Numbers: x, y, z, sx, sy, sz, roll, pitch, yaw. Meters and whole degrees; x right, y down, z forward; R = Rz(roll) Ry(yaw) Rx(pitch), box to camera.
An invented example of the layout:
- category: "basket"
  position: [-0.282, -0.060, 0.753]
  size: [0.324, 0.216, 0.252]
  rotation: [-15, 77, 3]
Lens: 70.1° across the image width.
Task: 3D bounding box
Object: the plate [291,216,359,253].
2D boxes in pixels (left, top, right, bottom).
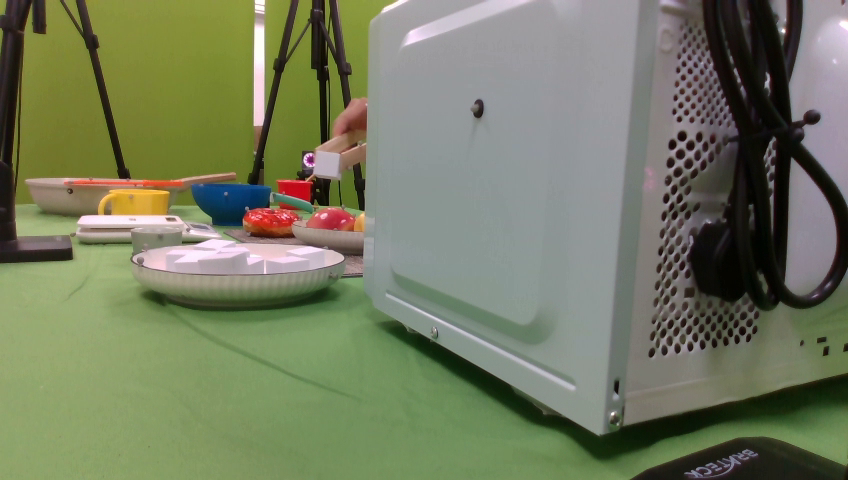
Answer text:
- category: "plate"
  position: [-0.103, -0.010, 0.945]
  size: [0.209, 0.038, 0.209]
  rotation: [2, 8, 0]

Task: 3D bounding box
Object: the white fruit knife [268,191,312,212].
- category: "white fruit knife"
  position: [-0.364, -0.105, 1.464]
  size: [0.208, 0.027, 0.016]
  rotation: [15, -1, -34]

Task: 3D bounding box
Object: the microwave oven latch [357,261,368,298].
- category: "microwave oven latch"
  position: [-0.019, 0.033, 0.530]
  size: [0.079, 0.029, 0.030]
  rotation: [-1, 7, -26]

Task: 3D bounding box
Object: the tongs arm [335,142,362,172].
- category: "tongs arm"
  position: [-0.089, -0.159, 0.966]
  size: [0.050, 0.026, 0.385]
  rotation: [7, 18, 12]

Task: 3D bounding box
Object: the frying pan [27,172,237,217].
- category: "frying pan"
  position: [-0.624, -0.118, 1.387]
  size: [0.305, 0.102, 0.490]
  rotation: [8, 17, 32]

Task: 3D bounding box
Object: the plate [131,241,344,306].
- category: "plate"
  position: [-0.187, 0.033, 0.625]
  size: [0.208, 0.039, 0.207]
  rotation: [2, 8, 0]

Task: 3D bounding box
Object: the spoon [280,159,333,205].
- category: "spoon"
  position: [-0.317, -0.159, 1.640]
  size: [0.194, 0.022, 0.041]
  rotation: [-49, 32, -20]

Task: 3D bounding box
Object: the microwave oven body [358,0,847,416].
- category: "microwave oven body"
  position: [0.211, -0.047, 0.475]
  size: [0.444, 0.260, 0.324]
  rotation: [-1, 7, -28]

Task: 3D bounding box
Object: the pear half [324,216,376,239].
- category: "pear half"
  position: [-0.119, -0.023, 0.996]
  size: [0.088, 0.031, 0.070]
  rotation: [-4, 23, -29]

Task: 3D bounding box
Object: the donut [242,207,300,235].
- category: "donut"
  position: [-0.263, -0.031, 1.039]
  size: [0.099, 0.048, 0.099]
  rotation: [4, 10, 0]

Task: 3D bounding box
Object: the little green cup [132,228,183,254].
- category: "little green cup"
  position: [-0.342, 0.006, 0.779]
  size: [0.061, 0.038, 0.061]
  rotation: [2, 8, 0]

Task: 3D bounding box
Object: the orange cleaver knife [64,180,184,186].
- category: "orange cleaver knife"
  position: [-0.595, -0.114, 1.212]
  size: [0.212, 0.012, 0.077]
  rotation: [-4, 6, -41]

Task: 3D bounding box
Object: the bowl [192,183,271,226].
- category: "bowl"
  position: [-0.382, -0.071, 1.202]
  size: [0.151, 0.077, 0.151]
  rotation: [3, 7, 0]

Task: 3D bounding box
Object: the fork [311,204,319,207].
- category: "fork"
  position: [-0.356, -0.105, 1.526]
  size: [0.208, 0.018, 0.028]
  rotation: [16, -5, -41]

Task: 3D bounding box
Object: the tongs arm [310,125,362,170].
- category: "tongs arm"
  position: [-0.112, -0.161, 0.969]
  size: [0.028, 0.028, 0.388]
  rotation: [2, 18, 9]

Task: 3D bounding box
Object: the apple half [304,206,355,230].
- category: "apple half"
  position: [-0.138, -0.024, 0.917]
  size: [0.081, 0.053, 0.074]
  rotation: [0, 10, -43]

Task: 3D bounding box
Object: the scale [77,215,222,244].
- category: "scale"
  position: [-0.434, -0.019, 0.963]
  size: [0.202, 0.031, 0.148]
  rotation: [-1, 9, -27]

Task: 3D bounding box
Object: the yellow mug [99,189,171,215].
- category: "yellow mug"
  position: [-0.519, -0.055, 1.080]
  size: [0.099, 0.064, 0.131]
  rotation: [7, 9, 26]

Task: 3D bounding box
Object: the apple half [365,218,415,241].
- category: "apple half"
  position: [-0.053, -0.019, 0.966]
  size: [0.081, 0.033, 0.081]
  rotation: [-3, 11, 1]

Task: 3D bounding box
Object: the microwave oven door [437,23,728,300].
- category: "microwave oven door"
  position: [0.180, -0.072, 0.621]
  size: [0.358, 0.243, 0.039]
  rotation: [-2, 8, -29]

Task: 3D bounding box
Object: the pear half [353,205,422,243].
- category: "pear half"
  position: [-0.051, -0.024, 0.905]
  size: [0.110, 0.056, 0.076]
  rotation: [0, -2, -37]
